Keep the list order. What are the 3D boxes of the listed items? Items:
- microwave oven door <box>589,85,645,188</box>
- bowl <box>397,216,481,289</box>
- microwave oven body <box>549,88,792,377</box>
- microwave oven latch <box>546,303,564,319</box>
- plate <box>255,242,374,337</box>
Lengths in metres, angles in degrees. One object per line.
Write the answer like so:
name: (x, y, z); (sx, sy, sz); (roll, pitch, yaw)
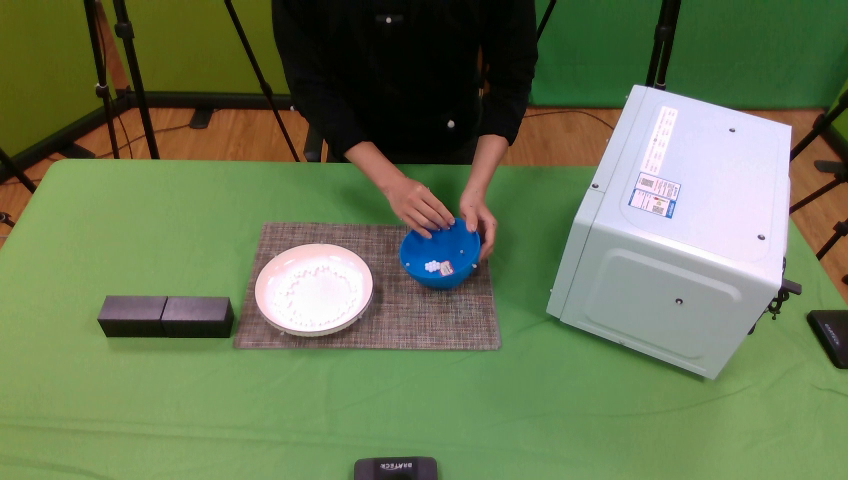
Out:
microwave oven door: (0.342, -0.107, 1.149); (0.039, 0.245, 0.354); (20, 48, 15)
bowl: (0.035, 0.037, 1.109); (0.151, 0.077, 0.150); (-9, 45, 9)
microwave oven body: (0.456, -0.028, 1.088); (0.325, 0.261, 0.440); (20, 47, 16)
microwave oven latch: (0.242, 0.102, 1.081); (0.030, 0.029, 0.079); (21, 48, 17)
plate: (-0.192, 0.090, 1.079); (0.208, 0.039, 0.206); (2, 46, -2)
